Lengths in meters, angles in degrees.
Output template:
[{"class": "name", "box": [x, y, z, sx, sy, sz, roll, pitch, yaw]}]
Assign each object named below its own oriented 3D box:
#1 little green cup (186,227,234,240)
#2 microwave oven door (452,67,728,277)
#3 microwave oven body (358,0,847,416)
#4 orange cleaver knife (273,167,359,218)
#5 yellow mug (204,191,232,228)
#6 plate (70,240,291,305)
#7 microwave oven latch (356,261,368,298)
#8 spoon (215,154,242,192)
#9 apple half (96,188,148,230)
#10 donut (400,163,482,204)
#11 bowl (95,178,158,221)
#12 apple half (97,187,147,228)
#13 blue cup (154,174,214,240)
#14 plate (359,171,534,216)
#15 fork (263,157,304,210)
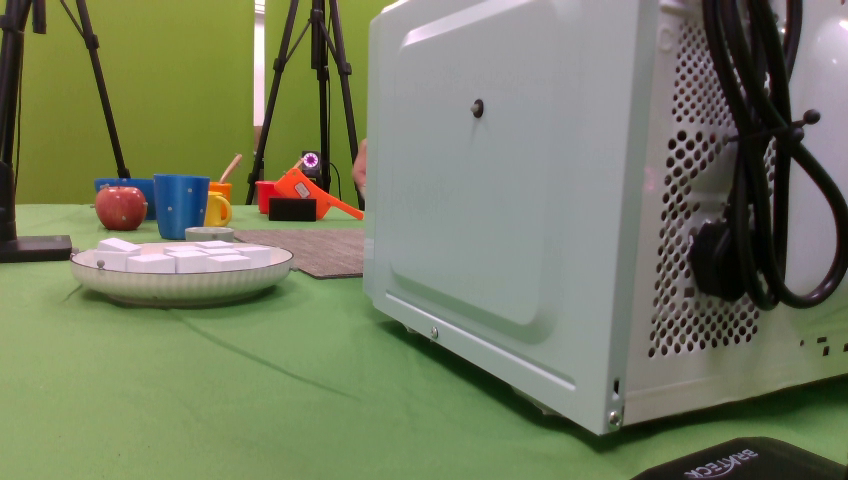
[{"class": "little green cup", "box": [-0.285, 0.005, 0.805, 0.061, 0.038, 0.061, 2, 8, 0]}, {"class": "microwave oven door", "box": [0.196, -0.095, 0.800, 0.354, 0.243, 0.039, 8, 10, 36]}, {"class": "microwave oven body", "box": [0.210, -0.047, 0.475, 0.444, 0.260, 0.324, -1, 7, -28]}, {"class": "orange cleaver knife", "box": [-0.238, -0.091, 1.381, 0.212, 0.077, 0.012, 31, 0, -19]}, {"class": "yellow mug", "box": [-0.415, -0.057, 1.131, 0.130, 0.064, 0.100, 6, 8, 16]}, {"class": "plate", "box": [-0.242, 0.031, 0.618, 0.208, 0.039, 0.207, 2, 8, 0]}, {"class": "microwave oven latch", "box": [-0.020, 0.033, 0.529, 0.079, 0.029, 0.030, 0, 7, -25]}, {"class": "spoon", "box": [-0.439, -0.124, 1.318, 0.041, 0.193, 0.022, 6, -36, 16]}, {"class": "apple half", "box": [-0.517, -0.052, 1.036, 0.081, 0.074, 0.053, 2, 10, -26]}, {"class": "donut", "box": [0.021, -0.067, 0.720, 0.099, 0.048, 0.099, 1, 9, 0]}, {"class": "bowl", "box": [-0.576, -0.081, 1.217, 0.151, 0.077, 0.151, 3, 8, 0]}, {"class": "apple half", "box": [-0.534, -0.059, 1.071, 0.082, 0.081, 0.032, -1, 11, -25]}, {"class": "blue cup", "box": [-0.391, -0.053, 0.978, 0.093, 0.100, 0.092, 3, 6, 0]}, {"class": "plate", "box": [0.027, -0.056, 0.721, 0.209, 0.038, 0.209, -3, 9, 1]}, {"class": "fork", "box": [-0.345, -0.143, 1.506, 0.028, 0.019, 0.207, -4, 46, 29]}]
